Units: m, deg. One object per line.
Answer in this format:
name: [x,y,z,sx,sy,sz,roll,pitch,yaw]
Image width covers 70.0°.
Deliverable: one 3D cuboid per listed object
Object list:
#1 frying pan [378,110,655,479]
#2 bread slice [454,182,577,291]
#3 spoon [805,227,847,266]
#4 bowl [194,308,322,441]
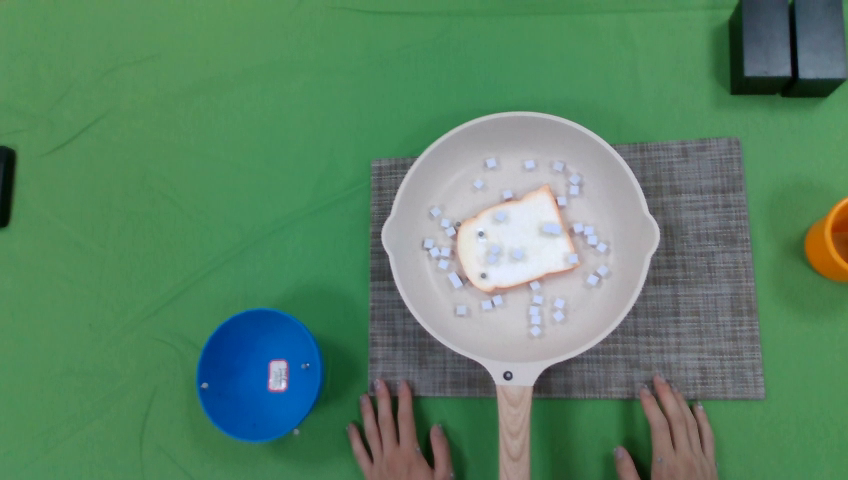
frying pan: [0.096,0.096,0.672,0.306,0.103,0.485,0,72,11]
bread slice: [0.104,0.004,0.728,0.134,0.018,0.106,-23,77,3]
spoon: [0.488,-0.009,0.605,0.022,0.193,0.041,-3,79,-36]
bowl: [-0.186,0.158,0.726,0.151,0.077,0.151,-2,80,9]
